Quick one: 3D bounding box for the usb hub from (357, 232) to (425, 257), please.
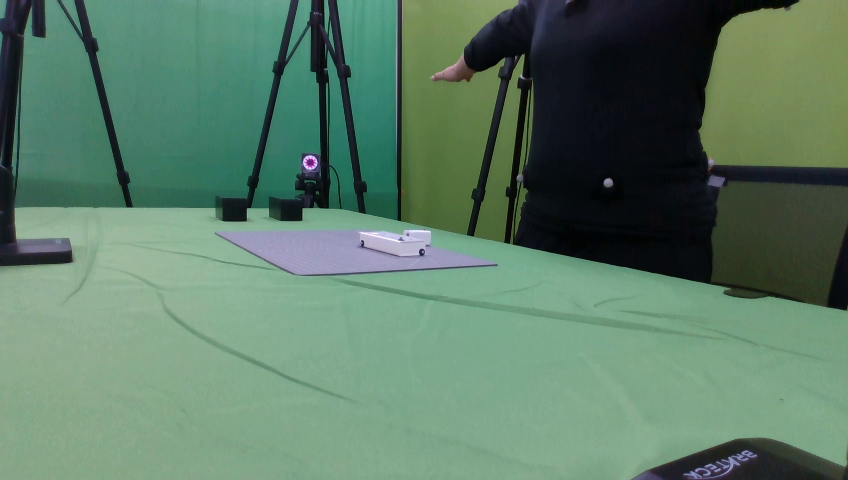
[{"bbox_3d":[-0.055,0.005,0.947,0.050,0.025,0.124,-3,9,-36],"label":"usb hub"}]

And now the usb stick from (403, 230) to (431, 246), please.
[{"bbox_3d":[-0.019,-0.003,1.020,0.059,0.027,0.021,-6,15,-34],"label":"usb stick"}]
